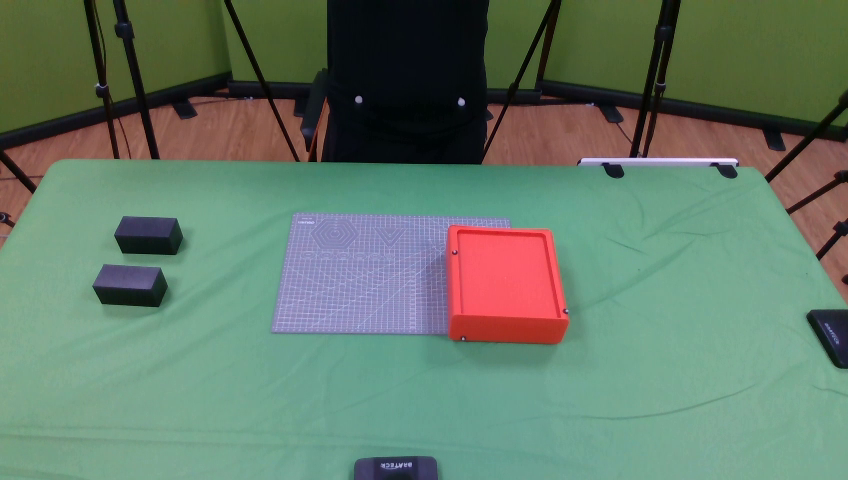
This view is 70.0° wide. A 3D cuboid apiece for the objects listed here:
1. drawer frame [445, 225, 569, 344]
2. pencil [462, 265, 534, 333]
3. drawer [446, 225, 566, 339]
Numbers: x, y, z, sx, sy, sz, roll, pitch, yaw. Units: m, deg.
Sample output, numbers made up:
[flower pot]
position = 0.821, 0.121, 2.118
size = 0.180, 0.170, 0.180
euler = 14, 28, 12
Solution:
[drawer frame]
position = 0.141, 0.076, 1.089
size = 0.202, 0.083, 0.212
euler = 3, 47, -4
[pencil]
position = 0.130, 0.104, 1.098
size = 0.012, 0.012, 0.193
euler = -26, 51, -27
[drawer]
position = 0.139, 0.073, 1.094
size = 0.194, 0.073, 0.210
euler = 3, 47, -3
